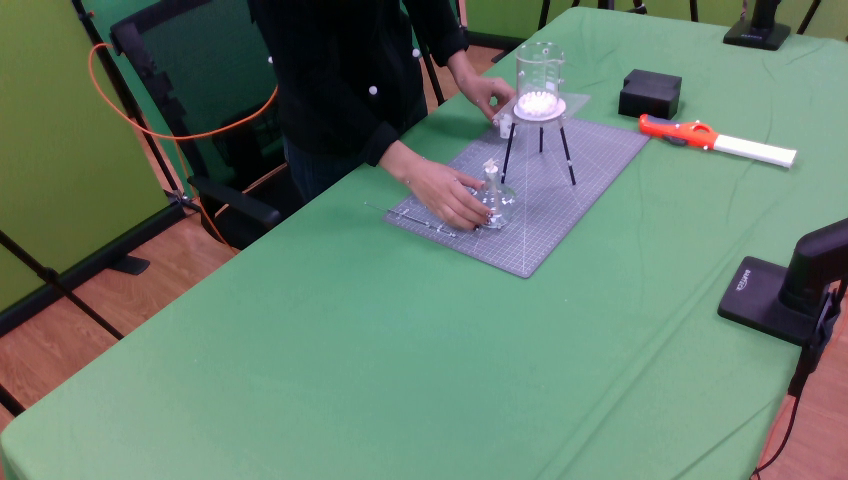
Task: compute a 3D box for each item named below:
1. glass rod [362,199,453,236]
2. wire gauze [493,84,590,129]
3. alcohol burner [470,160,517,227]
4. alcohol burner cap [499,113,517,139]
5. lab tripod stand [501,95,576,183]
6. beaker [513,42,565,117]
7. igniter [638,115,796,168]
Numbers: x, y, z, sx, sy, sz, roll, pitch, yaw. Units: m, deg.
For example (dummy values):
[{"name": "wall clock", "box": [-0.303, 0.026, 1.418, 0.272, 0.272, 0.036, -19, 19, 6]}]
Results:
[{"name": "glass rod", "box": [-0.032, -0.041, 1.041, 0.198, 0.008, 0.008, 22, 50, 31]}, {"name": "wire gauze", "box": [0.198, -0.223, 1.013, 0.120, 0.011, 0.125, 21, 47, 28]}, {"name": "alcohol burner", "box": [0.112, -0.079, 0.978, 0.078, 0.119, 0.077, -3, 41, 3]}, {"name": "alcohol burner cap", "box": [0.163, -0.225, 1.184, 0.034, 0.048, 0.033, -9, 37, 8]}, {"name": "lab tripod stand", "box": [0.204, -0.174, 1.057, 0.148, 0.132, 0.147, -4, 40, 4]}, {"name": "beaker", "box": [0.187, -0.257, 0.981, 0.083, 0.101, 0.074, 21, 49, 29]}, {"name": "igniter", "box": [0.517, -0.181, 1.093, 0.274, 0.025, 0.057, 23, 65, 32]}]
